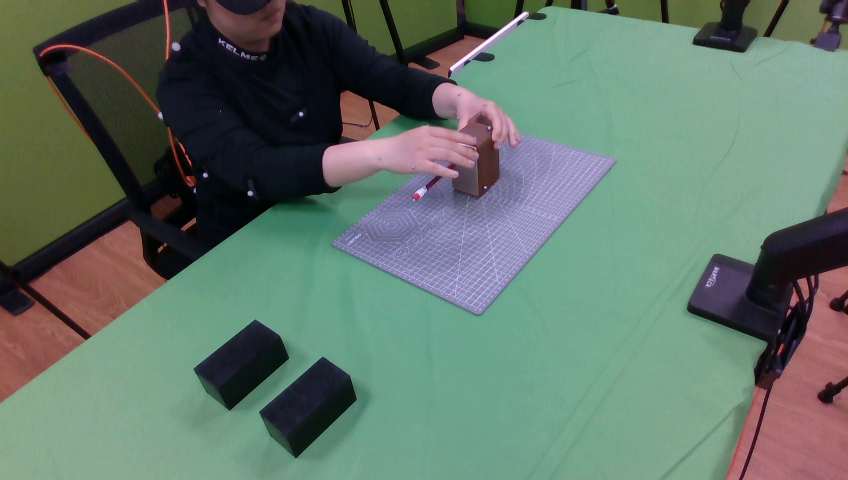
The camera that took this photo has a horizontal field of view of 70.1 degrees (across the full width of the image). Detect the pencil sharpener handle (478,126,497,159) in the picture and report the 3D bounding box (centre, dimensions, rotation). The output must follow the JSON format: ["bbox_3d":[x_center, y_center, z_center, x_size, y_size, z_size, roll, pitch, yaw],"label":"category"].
[{"bbox_3d":[0.118,-0.179,1.075,0.035,0.068,0.031,23,48,27],"label":"pencil sharpener handle"}]

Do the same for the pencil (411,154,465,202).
[{"bbox_3d":[0.039,-0.116,0.987,0.012,0.012,0.194,21,46,30],"label":"pencil"}]

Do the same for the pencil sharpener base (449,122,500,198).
[{"bbox_3d":[0.090,-0.140,1.052,0.061,0.107,0.077,20,47,30],"label":"pencil sharpener base"}]
